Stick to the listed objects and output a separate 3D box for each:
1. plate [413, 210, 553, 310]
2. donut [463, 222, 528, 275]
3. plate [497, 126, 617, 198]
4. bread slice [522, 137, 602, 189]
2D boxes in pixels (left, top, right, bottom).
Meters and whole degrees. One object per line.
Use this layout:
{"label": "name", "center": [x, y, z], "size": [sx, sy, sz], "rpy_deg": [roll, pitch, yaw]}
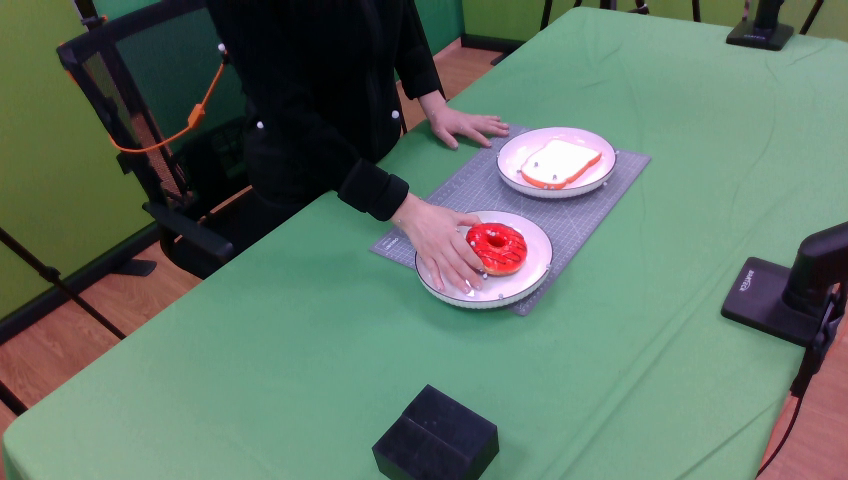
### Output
{"label": "plate", "center": [0.089, 0.033, 0.914], "size": [0.207, 0.039, 0.206], "rpy_deg": [-5, 40, 5]}
{"label": "donut", "center": [0.107, 0.013, 0.904], "size": [0.099, 0.048, 0.098], "rpy_deg": [6, 42, -5]}
{"label": "plate", "center": [0.236, -0.136, 1.085], "size": [0.209, 0.038, 0.208], "rpy_deg": [-5, 40, 5]}
{"label": "bread slice", "center": [0.242, -0.136, 1.085], "size": [0.106, 0.018, 0.134], "rpy_deg": [23, 50, 34]}
